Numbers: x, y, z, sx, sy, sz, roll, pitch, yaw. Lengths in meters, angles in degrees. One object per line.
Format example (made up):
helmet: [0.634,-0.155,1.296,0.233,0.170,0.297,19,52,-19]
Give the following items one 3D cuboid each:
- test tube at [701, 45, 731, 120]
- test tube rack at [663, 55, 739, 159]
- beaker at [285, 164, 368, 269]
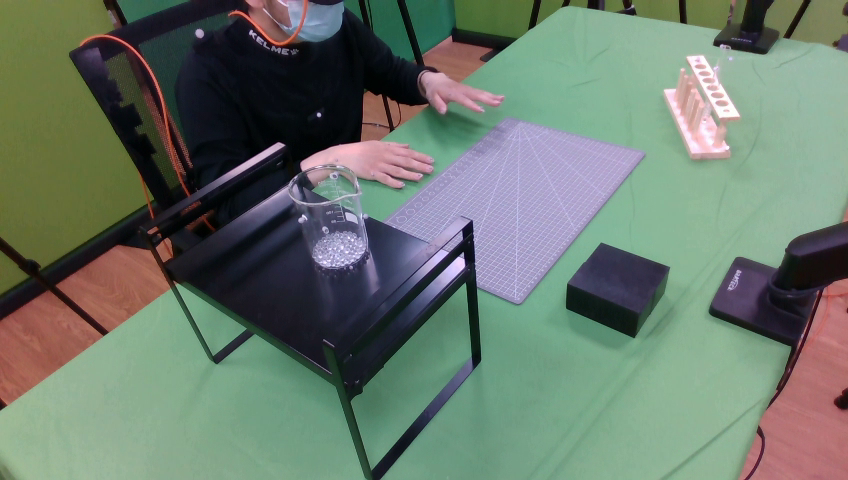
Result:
test tube: [0.527,-0.281,1.095,0.017,0.151,0.017,-3,46,3]
test tube rack: [0.517,-0.256,1.144,0.066,0.085,0.241,-1,41,8]
beaker: [-0.102,-0.024,0.676,0.083,0.101,0.074,8,43,17]
